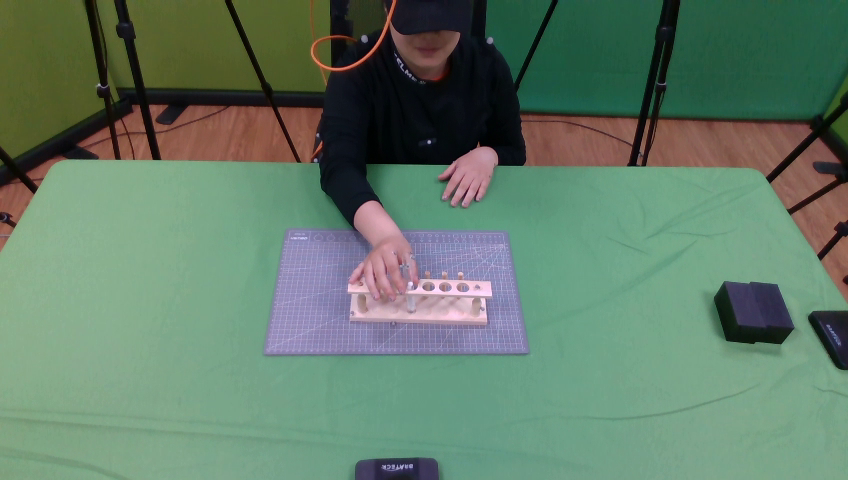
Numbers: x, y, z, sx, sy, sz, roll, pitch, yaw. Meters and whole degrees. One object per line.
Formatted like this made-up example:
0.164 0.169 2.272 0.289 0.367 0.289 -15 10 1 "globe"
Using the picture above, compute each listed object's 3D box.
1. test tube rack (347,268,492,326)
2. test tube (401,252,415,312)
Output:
-0.009 0.095 1.059 0.242 0.085 0.066 2 46 -2 "test tube rack"
-0.026 0.072 1.011 0.017 0.151 0.017 -1 48 2 "test tube"
